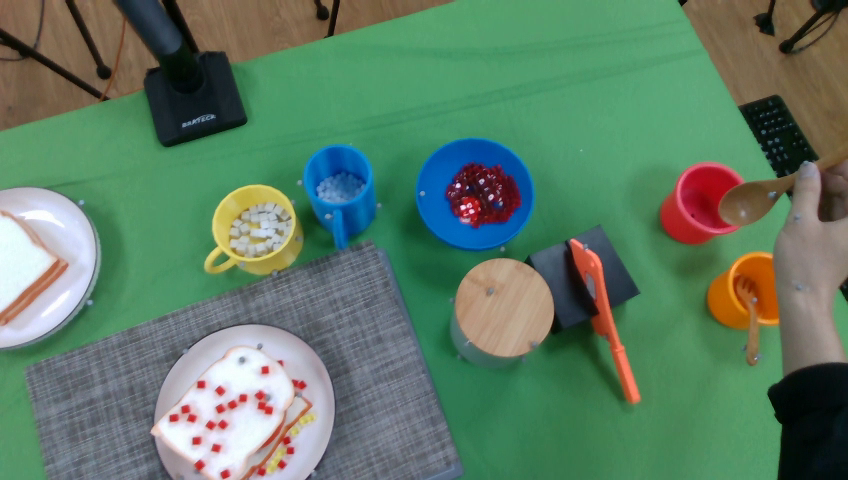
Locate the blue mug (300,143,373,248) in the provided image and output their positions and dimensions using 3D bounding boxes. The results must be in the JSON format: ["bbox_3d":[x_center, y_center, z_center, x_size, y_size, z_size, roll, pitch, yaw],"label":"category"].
[{"bbox_3d":[-0.108,-0.047,0.763,0.082,0.106,0.116,0,72,-2],"label":"blue mug"}]

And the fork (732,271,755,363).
[{"bbox_3d":[0.383,0.087,0.720,0.028,0.019,0.207,42,31,4],"label":"fork"}]

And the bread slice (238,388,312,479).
[{"bbox_3d":[-0.212,0.212,0.713,0.104,0.019,0.131,34,71,9],"label":"bread slice"}]

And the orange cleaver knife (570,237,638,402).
[{"bbox_3d":[0.218,0.097,0.744,0.012,0.077,0.212,-21,101,-6],"label":"orange cleaver knife"}]

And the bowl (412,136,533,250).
[{"bbox_3d":[0.059,-0.050,0.786,0.151,0.077,0.150,1,73,-2],"label":"bowl"}]

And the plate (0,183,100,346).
[{"bbox_3d":[-0.508,0.030,0.755,0.208,0.039,0.206,1,72,-2],"label":"plate"}]

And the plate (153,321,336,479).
[{"bbox_3d":[-0.206,0.200,0.712,0.209,0.038,0.208,1,73,-2],"label":"plate"}]

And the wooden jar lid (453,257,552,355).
[{"bbox_3d":[0.084,0.072,0.658,0.108,0.021,0.108,2,74,-5],"label":"wooden jar lid"}]

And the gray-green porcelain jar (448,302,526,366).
[{"bbox_3d":[0.083,0.092,0.717,0.106,0.127,0.105,1,72,-3],"label":"gray-green porcelain jar"}]

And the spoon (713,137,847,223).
[{"bbox_3d":[0.350,-0.066,0.553,0.022,0.194,0.041,-21,79,-32],"label":"spoon"}]

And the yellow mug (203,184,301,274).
[{"bbox_3d":[-0.223,-0.003,0.764,0.131,0.064,0.099,-41,78,-12],"label":"yellow mug"}]

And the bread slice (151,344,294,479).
[{"bbox_3d":[-0.209,0.181,0.657,0.107,0.018,0.134,34,68,2],"label":"bread slice"}]
